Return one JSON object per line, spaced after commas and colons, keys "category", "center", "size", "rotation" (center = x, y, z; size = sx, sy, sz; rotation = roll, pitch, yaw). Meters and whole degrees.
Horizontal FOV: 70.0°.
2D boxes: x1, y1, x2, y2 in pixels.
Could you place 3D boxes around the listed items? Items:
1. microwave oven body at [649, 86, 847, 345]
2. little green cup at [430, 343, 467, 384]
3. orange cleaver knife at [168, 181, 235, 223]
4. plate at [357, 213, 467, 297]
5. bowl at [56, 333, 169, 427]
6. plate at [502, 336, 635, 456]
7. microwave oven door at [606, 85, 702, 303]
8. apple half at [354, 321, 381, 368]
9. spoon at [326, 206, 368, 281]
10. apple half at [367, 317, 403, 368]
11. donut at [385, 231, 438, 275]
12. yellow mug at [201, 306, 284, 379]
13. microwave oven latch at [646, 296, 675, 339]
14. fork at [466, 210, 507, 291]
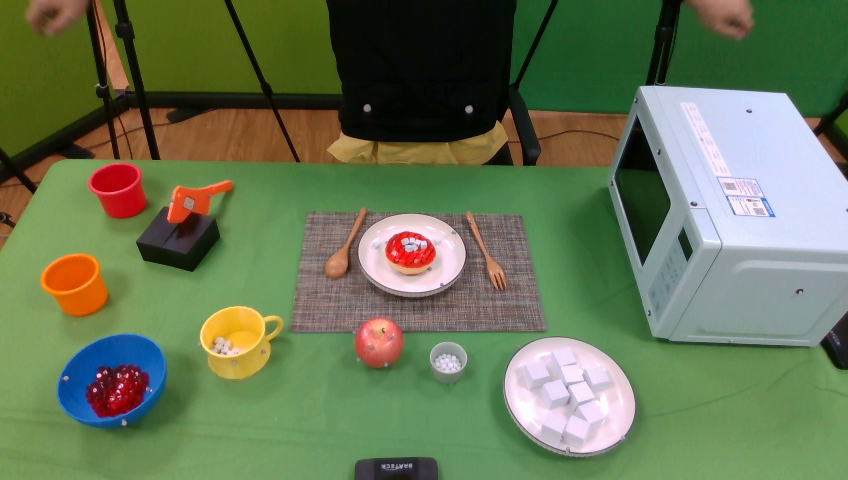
{"category": "microwave oven body", "center": [0.567, -0.053, 1.118], "size": [0.326, 0.261, 0.439], "rotation": [2, 45, -1]}
{"category": "little green cup", "center": [0.039, 0.203, 0.993], "size": [0.061, 0.039, 0.061], "rotation": [2, 46, -2]}
{"category": "orange cleaver knife", "center": [-0.436, -0.078, 1.196], "size": [0.012, 0.077, 0.211], "rotation": [15, 15, 10]}
{"category": "plate", "center": [-0.023, 0.032, 1.150], "size": [0.209, 0.038, 0.208], "rotation": [2, 46, -2]}
{"category": "bowl", "center": [-0.456, 0.223, 0.911], "size": [0.151, 0.077, 0.150], "rotation": [3, 46, -2]}
{"category": "plate", "center": [0.225, 0.248, 0.963], "size": [0.208, 0.039, 0.206], "rotation": [2, 46, -2]}
{"category": "microwave oven door", "center": [0.423, -0.094, 1.140], "size": [0.039, 0.245, 0.353], "rotation": [2, 46, -1]}
{"category": "apple half", "center": [-0.097, 0.176, 0.985], "size": [0.033, 0.081, 0.080], "rotation": [-12, 48, -20]}
{"category": "spoon", "center": [-0.145, 0.002, 1.187], "size": [0.041, 0.022, 0.193], "rotation": [11, 47, 8]}
{"category": "apple half", "center": [-0.062, 0.167, 0.998], "size": [0.053, 0.075, 0.080], "rotation": [-11, 44, -20]}
{"category": "donut", "center": [-0.024, 0.024, 1.142], "size": [0.099, 0.048, 0.098], "rotation": [3, 43, -3]}
{"category": "yellow mug", "center": [-0.291, 0.160, 0.993], "size": [0.131, 0.064, 0.099], "rotation": [-23, 52, -25]}
{"category": "microwave oven latch", "center": [0.412, 0.134, 1.061], "size": [0.030, 0.029, 0.078], "rotation": [4, 45, 1]}
{"category": "fork", "center": [0.118, 0.016, 1.188], "size": [0.028, 0.019, 0.206], "rotation": [-16, 49, -5]}
